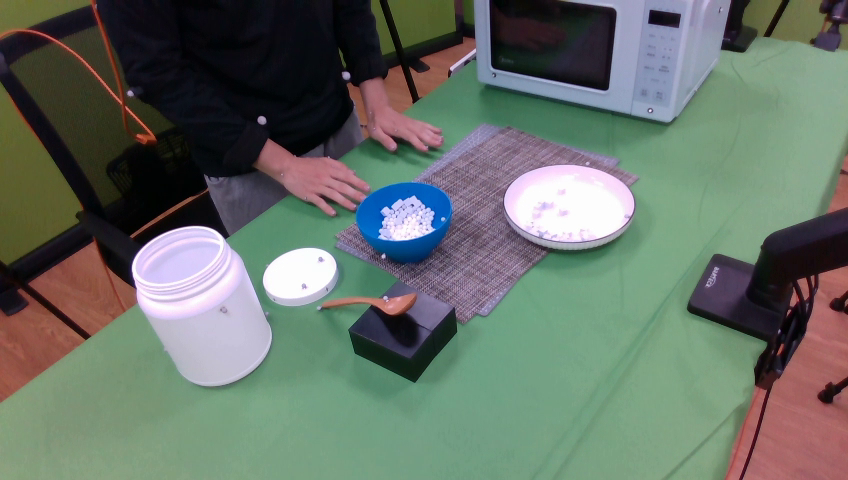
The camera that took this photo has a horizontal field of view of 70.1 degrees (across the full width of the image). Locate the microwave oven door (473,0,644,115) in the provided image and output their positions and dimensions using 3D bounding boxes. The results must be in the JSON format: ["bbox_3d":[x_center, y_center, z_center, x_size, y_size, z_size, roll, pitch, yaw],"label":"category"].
[{"bbox_3d":[0.257,-0.396,1.199,0.353,0.245,0.039,21,48,29],"label":"microwave oven door"}]

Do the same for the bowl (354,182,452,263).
[{"bbox_3d":[-0.028,-0.017,0.943,0.151,0.077,0.150,-4,40,4],"label":"bowl"}]

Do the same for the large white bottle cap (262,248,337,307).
[{"bbox_3d":[-0.193,0.056,0.933,0.115,0.018,0.114,-5,41,5],"label":"large white bottle cap"}]

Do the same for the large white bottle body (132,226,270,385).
[{"bbox_3d":[-0.286,0.085,0.784,0.130,0.185,0.130,-4,41,4],"label":"large white bottle body"}]

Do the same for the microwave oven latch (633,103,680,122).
[{"bbox_3d":[0.444,-0.249,1.157,0.078,0.029,0.030,21,48,30],"label":"microwave oven latch"}]

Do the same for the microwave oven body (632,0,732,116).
[{"bbox_3d":[0.377,-0.462,1.267,0.438,0.261,0.327,21,48,30],"label":"microwave oven body"}]

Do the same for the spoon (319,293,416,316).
[{"bbox_3d":[-0.082,0.086,0.826,0.192,0.022,0.041,-3,37,41],"label":"spoon"}]

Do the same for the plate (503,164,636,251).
[{"bbox_3d":[0.231,-0.051,0.976,0.209,0.038,0.208,-3,41,3],"label":"plate"}]
